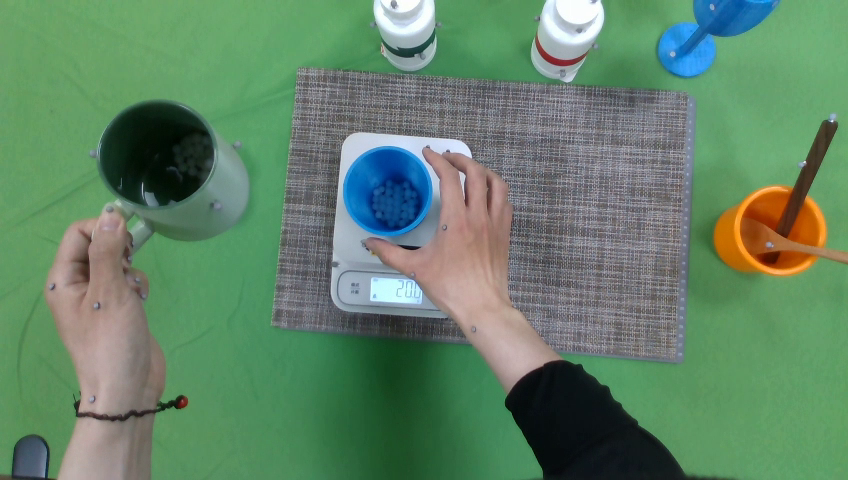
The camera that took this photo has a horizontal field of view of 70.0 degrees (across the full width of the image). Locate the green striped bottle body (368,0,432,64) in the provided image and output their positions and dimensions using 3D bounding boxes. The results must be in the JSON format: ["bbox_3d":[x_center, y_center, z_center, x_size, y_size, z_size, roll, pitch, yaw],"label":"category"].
[{"bbox_3d":[-0.024,-0.240,0.648,0.063,0.119,0.063,0,85,2],"label":"green striped bottle body"}]

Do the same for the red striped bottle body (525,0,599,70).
[{"bbox_3d":[0.146,-0.230,0.641,0.063,0.120,0.063,0,85,2],"label":"red striped bottle body"}]

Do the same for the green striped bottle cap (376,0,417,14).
[{"bbox_3d":[-0.027,-0.246,0.592,0.044,0.020,0.044,0,85,2],"label":"green striped bottle cap"}]

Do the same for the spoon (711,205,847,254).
[{"bbox_3d":[0.383,0.000,0.601,0.022,0.192,0.041,15,94,-40],"label":"spoon"}]

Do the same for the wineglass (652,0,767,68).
[{"bbox_3d":[0.290,-0.237,0.610,0.074,0.172,0.073,0,85,3],"label":"wineglass"}]

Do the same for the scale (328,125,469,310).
[{"bbox_3d":[-0.028,-0.025,0.672,0.148,0.031,0.200,3,86,2],"label":"scale"}]

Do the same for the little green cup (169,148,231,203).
[{"bbox_3d":[-0.249,-0.070,0.683,0.061,0.039,0.061,0,85,1],"label":"little green cup"}]

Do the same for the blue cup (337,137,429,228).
[{"bbox_3d":[-0.035,-0.051,0.608,0.092,0.100,0.092,0,87,3],"label":"blue cup"}]

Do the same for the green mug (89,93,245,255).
[{"bbox_3d":[-0.198,-0.041,0.456,0.092,0.105,0.125,36,79,-2],"label":"green mug"}]

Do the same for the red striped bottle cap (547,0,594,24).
[{"bbox_3d":[0.143,-0.234,0.588,0.044,0.018,0.044,0,83,2],"label":"red striped bottle cap"}]

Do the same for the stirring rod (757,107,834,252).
[{"bbox_3d":[0.368,-0.053,0.605,0.014,0.178,0.006,13,45,17],"label":"stirring rod"}]
